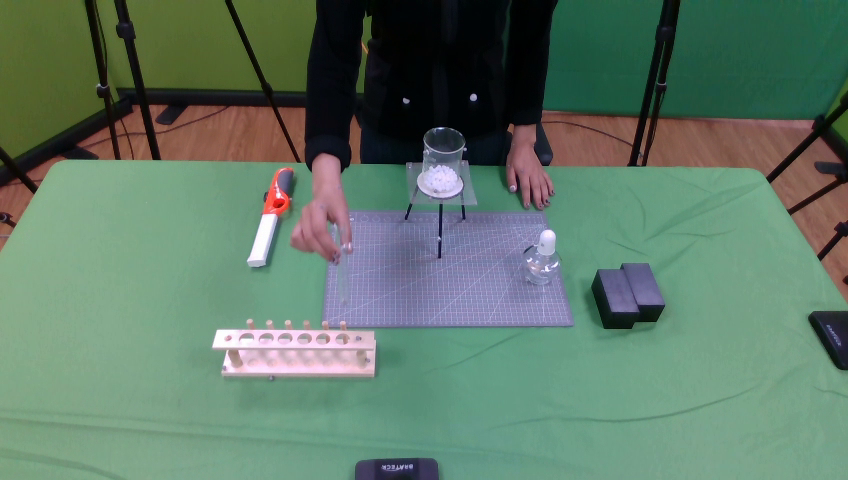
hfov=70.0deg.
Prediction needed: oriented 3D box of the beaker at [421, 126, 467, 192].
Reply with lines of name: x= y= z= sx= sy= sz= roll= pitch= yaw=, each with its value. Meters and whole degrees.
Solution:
beaker: x=0.031 y=-0.146 z=1.100 sx=0.074 sy=0.101 sz=0.083 roll=-17 pitch=50 yaw=-20

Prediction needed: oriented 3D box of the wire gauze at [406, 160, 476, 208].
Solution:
wire gauze: x=0.031 y=-0.107 z=1.130 sx=0.125 sy=0.011 sz=0.120 roll=1 pitch=48 yaw=-7

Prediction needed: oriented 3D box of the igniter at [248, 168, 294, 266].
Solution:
igniter: x=-0.307 y=-0.055 z=1.225 sx=0.057 sy=0.025 sz=0.275 roll=-3 pitch=46 yaw=6

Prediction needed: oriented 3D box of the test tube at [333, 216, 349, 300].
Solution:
test tube: x=-0.121 y=0.030 z=0.886 sx=0.017 sy=0.151 sz=0.017 roll=1 pitch=37 yaw=-1

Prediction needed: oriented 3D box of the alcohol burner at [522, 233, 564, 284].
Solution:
alcohol burner: x=0.223 y=0.027 z=1.120 sx=0.078 sy=0.119 sz=0.077 roll=2 pitch=48 yaw=-2

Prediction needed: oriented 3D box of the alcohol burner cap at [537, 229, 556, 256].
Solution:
alcohol burner cap: x=0.223 y=0.001 z=1.095 sx=0.034 sy=0.048 sz=0.033 roll=-1 pitch=44 yaw=1

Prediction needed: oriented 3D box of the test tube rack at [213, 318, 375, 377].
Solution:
test tube rack: x=-0.202 y=0.169 z=0.977 sx=0.242 sy=0.085 sz=0.066 roll=1 pitch=46 yaw=-3

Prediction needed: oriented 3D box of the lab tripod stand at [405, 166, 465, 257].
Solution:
lab tripod stand: x=0.030 y=-0.063 z=1.180 sx=0.148 sy=0.132 sz=0.147 roll=3 pitch=47 yaw=-3
